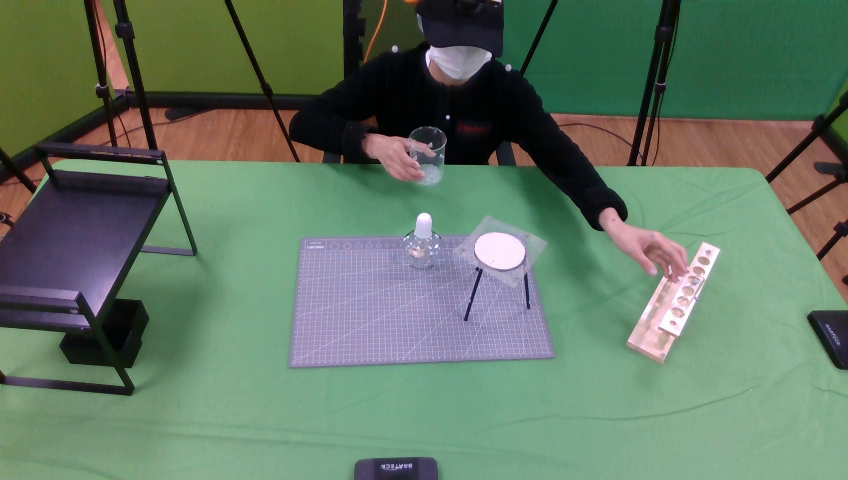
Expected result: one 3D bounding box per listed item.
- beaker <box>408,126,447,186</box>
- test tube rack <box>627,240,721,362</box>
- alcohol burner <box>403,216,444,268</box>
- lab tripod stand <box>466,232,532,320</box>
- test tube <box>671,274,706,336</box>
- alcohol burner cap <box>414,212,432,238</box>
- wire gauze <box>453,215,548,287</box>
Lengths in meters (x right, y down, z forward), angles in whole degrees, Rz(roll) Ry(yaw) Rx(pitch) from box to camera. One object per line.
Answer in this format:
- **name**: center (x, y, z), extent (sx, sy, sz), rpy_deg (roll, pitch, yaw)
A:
- **beaker**: center (0.007, -0.166, 1.206), extent (0.074, 0.101, 0.083), rpy_deg (20, 52, 14)
- **test tube rack**: center (0.452, 0.098, 1.087), extent (0.066, 0.085, 0.242), rpy_deg (28, 51, 22)
- **alcohol burner**: center (-0.001, -0.004, 1.132), extent (0.078, 0.120, 0.077), rpy_deg (1, 46, 0)
- **lab tripod stand**: center (0.125, 0.059, 1.065), extent (0.148, 0.132, 0.147), rpy_deg (1, 45, 0)
- **test tube**: center (0.429, 0.111, 1.004), extent (0.017, 0.151, 0.017), rpy_deg (4, 43, -4)
- **alcohol burner cap**: center (0.000, -0.030, 1.107), extent (0.034, 0.048, 0.033), rpy_deg (4, 41, -3)
- **wire gauze**: center (0.129, 0.012, 1.017), extent (0.124, 0.011, 0.121), rpy_deg (28, 49, 23)
